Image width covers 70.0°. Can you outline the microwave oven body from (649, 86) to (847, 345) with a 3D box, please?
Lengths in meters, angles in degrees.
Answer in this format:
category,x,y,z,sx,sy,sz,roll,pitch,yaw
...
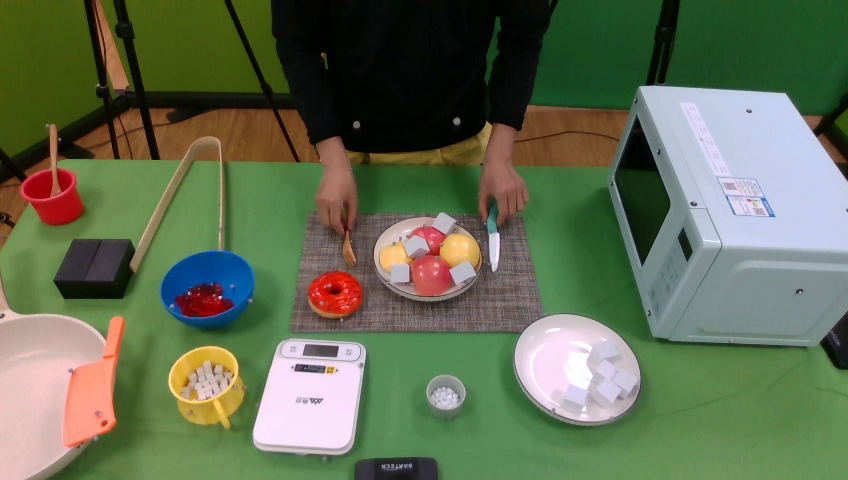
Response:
category,x,y,z,sx,sy,sz,roll,pitch,yaw
microwave oven body,0.567,-0.053,1.118,0.326,0.261,0.439,2,45,-1

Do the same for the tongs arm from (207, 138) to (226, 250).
category,x,y,z,sx,sy,sz,roll,pitch,yaw
tongs arm,-0.431,-0.090,1.245,0.051,0.026,0.382,-8,46,-7

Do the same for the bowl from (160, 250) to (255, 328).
category,x,y,z,sx,sy,sz,roll,pitch,yaw
bowl,-0.362,0.098,1.040,0.151,0.077,0.150,2,45,-2

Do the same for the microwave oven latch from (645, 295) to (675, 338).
category,x,y,z,sx,sy,sz,roll,pitch,yaw
microwave oven latch,0.411,0.134,1.061,0.030,0.029,0.078,3,45,0

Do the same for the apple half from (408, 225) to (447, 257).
category,x,y,z,sx,sy,sz,roll,pitch,yaw
apple half,0.009,-0.006,1.176,0.081,0.033,0.081,1,52,-2

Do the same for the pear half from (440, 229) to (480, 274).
category,x,y,z,sx,sy,sz,roll,pitch,yaw
pear half,0.065,0.007,1.150,0.076,0.056,0.109,-10,43,-3

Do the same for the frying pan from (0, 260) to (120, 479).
category,x,y,z,sx,sy,sz,roll,pitch,yaw
frying pan,-0.647,0.164,0.936,0.307,0.103,0.485,-19,58,-22

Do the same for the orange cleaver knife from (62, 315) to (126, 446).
category,x,y,z,sx,sy,sz,roll,pitch,yaw
orange cleaver knife,-0.480,0.199,0.887,0.077,0.012,0.210,-9,47,-8

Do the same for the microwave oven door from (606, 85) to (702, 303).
category,x,y,z,sx,sy,sz,roll,pitch,yaw
microwave oven door,0.422,-0.094,1.140,0.039,0.245,0.353,2,46,-1

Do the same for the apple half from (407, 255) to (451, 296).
category,x,y,z,sx,sy,sz,roll,pitch,yaw
apple half,0.011,0.058,1.103,0.075,0.053,0.080,-6,43,-13

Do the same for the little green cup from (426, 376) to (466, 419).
category,x,y,z,sx,sy,sz,roll,pitch,yaw
little green cup,0.033,0.248,0.950,0.061,0.039,0.061,2,46,-2

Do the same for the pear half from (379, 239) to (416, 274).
category,x,y,z,sx,sy,sz,roll,pitch,yaw
pear half,-0.048,0.024,1.147,0.070,0.031,0.087,12,48,-11

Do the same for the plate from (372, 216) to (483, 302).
category,x,y,z,sx,sy,sz,roll,pitch,yaw
plate,0.006,0.038,1.145,0.209,0.038,0.208,2,46,-2

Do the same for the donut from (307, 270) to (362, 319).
category,x,y,z,sx,sy,sz,roll,pitch,yaw
donut,-0.158,0.097,1.073,0.099,0.048,0.098,4,45,-4

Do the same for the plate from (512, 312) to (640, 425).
category,x,y,z,sx,sy,sz,roll,pitch,yaw
plate,0.246,0.213,0.999,0.208,0.039,0.206,2,46,-2

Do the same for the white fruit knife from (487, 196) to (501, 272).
category,x,y,z,sx,sy,sz,roll,pitch,yaw
white fruit knife,0.142,-0.016,1.220,0.027,0.016,0.206,13,47,-9

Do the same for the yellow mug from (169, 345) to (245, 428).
category,x,y,z,sx,sy,sz,roll,pitch,yaw
yellow mug,-0.322,0.230,0.922,0.100,0.064,0.130,-24,53,-25

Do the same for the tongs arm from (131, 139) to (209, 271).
category,x,y,z,sx,sy,sz,roll,pitch,yaw
tongs arm,-0.514,-0.085,1.238,0.028,0.028,0.385,0,45,6

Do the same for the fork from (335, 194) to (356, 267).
category,x,y,z,sx,sy,sz,roll,pitch,yaw
fork,-0.159,-0.025,1.207,0.019,0.028,0.206,14,38,-27

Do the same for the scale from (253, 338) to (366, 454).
category,x,y,z,sx,sy,sz,roll,pitch,yaw
scale,-0.175,0.236,0.951,0.149,0.032,0.199,4,45,-1

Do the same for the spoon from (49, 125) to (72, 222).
category,x,y,z,sx,sy,sz,roll,pitch,yaw
spoon,-0.718,-0.131,1.189,0.041,0.021,0.193,-4,90,-6
